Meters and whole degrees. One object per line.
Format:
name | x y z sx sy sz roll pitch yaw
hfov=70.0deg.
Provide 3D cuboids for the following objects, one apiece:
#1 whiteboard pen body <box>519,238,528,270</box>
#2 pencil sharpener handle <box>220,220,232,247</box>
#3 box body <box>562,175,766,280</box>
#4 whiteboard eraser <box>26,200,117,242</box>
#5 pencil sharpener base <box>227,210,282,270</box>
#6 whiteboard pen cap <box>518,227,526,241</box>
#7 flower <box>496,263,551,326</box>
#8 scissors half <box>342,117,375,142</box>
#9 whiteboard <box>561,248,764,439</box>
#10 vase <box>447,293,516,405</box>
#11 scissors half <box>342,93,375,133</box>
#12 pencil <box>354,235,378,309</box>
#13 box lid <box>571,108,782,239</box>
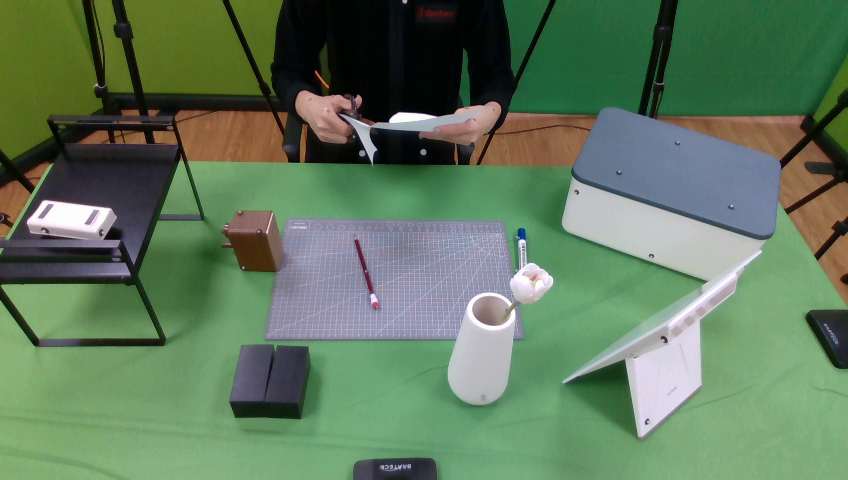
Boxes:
whiteboard pen body | 0.193 0.035 1.180 0.017 0.017 0.140 6 48 1
pencil sharpener handle | -0.362 -0.009 1.105 0.030 0.068 0.036 1 53 1
box body | 0.486 -0.088 1.222 0.363 0.161 0.253 20 48 15
whiteboard eraser | -0.532 -0.026 0.919 0.113 0.042 0.055 7 45 3
pencil sharpener base | -0.311 0.001 1.112 0.077 0.107 0.061 1 47 1
whiteboard pen cap | 0.197 -0.009 1.220 0.018 0.018 0.033 5 51 1
flower | 0.102 0.121 0.853 0.044 0.363 0.038 -2 64 -10
scissors half | -0.112 -0.192 1.036 0.013 0.040 0.174 -5 6 -22
whiteboard | 0.386 0.176 0.905 0.217 0.306 0.143 -26 72 -27
vase | 0.091 0.169 0.921 0.098 0.201 0.097 3 47 -3
scissors half | -0.112 -0.213 1.030 0.013 0.040 0.174 -10 34 -21
pencil | -0.113 0.055 1.143 0.012 0.012 0.192 -10 46 -13
box lid | 0.491 -0.139 1.168 0.370 0.015 0.262 21 49 15
